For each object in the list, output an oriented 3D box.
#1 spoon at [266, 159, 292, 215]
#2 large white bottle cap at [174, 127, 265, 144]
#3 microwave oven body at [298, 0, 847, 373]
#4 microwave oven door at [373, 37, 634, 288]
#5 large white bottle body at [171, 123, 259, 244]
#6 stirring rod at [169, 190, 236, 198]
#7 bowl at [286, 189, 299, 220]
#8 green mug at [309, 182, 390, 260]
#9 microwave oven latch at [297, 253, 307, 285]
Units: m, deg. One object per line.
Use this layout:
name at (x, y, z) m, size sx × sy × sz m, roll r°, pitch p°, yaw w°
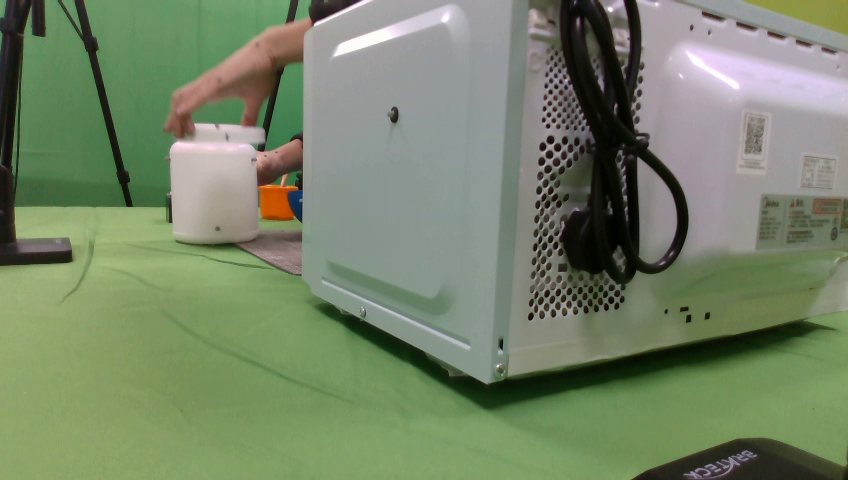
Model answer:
spoon at (-0.334, -0.127, 1.424) m, size 0.041 × 0.193 × 0.021 m, roll 2°, pitch -38°, yaw 5°
large white bottle cap at (-0.272, -0.140, 0.809) m, size 0.115 × 0.018 × 0.114 m, roll 2°, pitch 13°, yaw 0°
microwave oven body at (0.151, -0.055, 0.542) m, size 0.444 × 0.260 × 0.324 m, roll -2°, pitch 7°, yaw -33°
microwave oven door at (0.110, -0.081, 0.686) m, size 0.358 × 0.243 × 0.039 m, roll -3°, pitch 8°, yaw -33°
large white bottle body at (-0.337, -0.092, 0.977) m, size 0.131 × 0.184 × 0.130 m, roll 1°, pitch 8°, yaw 0°
stirring rod at (-0.465, -0.098, 1.283) m, size 0.014 × 0.006 × 0.177 m, roll 42°, pitch 22°, yaw 17°
bowl at (-0.179, -0.051, 1.114) m, size 0.151 × 0.077 × 0.151 m, roll 3°, pitch 8°, yaw 0°
green mug at (-0.102, -0.029, 0.864) m, size 0.126 × 0.105 × 0.092 m, roll -3°, pitch 8°, yaw -40°
microwave oven latch at (-0.082, 0.027, 0.582) m, size 0.079 × 0.029 × 0.030 m, roll -1°, pitch 7°, yaw -32°
